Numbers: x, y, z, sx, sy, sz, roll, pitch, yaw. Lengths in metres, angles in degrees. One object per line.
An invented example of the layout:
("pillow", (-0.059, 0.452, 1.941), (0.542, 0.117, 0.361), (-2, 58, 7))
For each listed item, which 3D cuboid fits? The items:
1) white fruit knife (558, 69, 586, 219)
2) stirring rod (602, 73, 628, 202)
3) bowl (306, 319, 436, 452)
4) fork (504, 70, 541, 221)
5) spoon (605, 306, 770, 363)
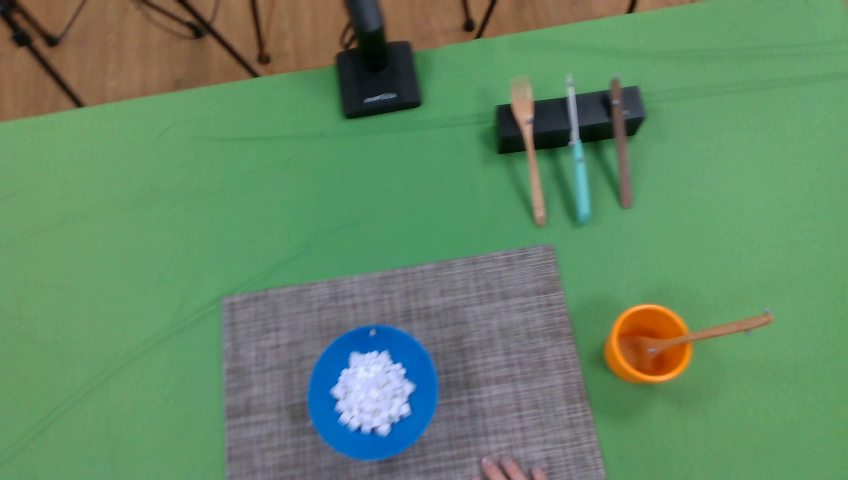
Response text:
("white fruit knife", (0.200, -0.133, 0.827), (0.016, 0.027, 0.207), (-7, 87, -4))
("stirring rod", (0.262, -0.139, 0.831), (0.014, 0.006, 0.176), (-8, 96, 6))
("bowl", (-0.058, 0.177, 0.727), (0.151, 0.077, 0.150), (-1, 70, 2))
("fork", (0.138, -0.128, 0.828), (0.028, 0.018, 0.207), (-11, 90, -4))
("spoon", (0.300, 0.108, 0.706), (0.022, 0.193, 0.041), (11, 63, -42))
